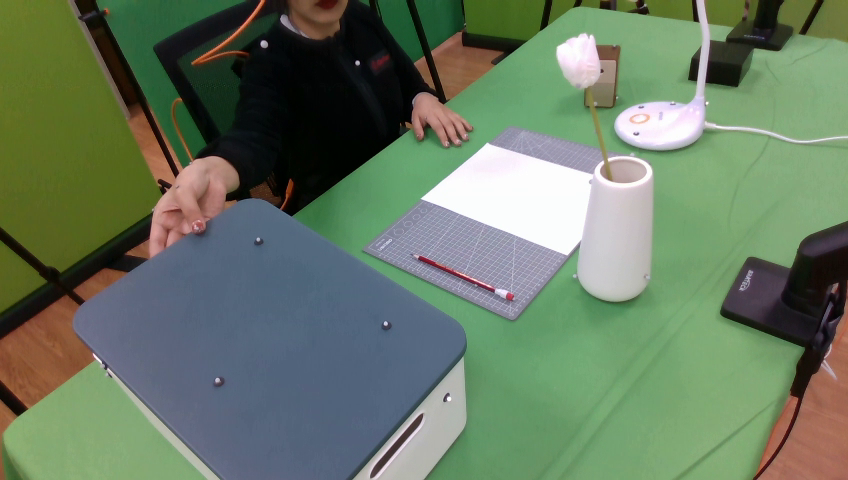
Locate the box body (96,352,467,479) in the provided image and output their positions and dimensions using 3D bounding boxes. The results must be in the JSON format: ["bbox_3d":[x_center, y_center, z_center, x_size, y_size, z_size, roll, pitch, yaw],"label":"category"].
[{"bbox_3d":[-0.155,0.169,0.707,0.361,0.161,0.255,23,49,33],"label":"box body"}]

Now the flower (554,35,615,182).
[{"bbox_3d":[0.237,-0.083,0.774,0.044,0.363,0.038,-22,26,7],"label":"flower"}]

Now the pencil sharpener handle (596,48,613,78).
[{"bbox_3d":[0.383,-0.378,1.276,0.036,0.068,0.030,2,41,22],"label":"pencil sharpener handle"}]

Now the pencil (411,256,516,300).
[{"bbox_3d":[0.054,0.054,0.918,0.192,0.012,0.012,21,48,33],"label":"pencil"}]

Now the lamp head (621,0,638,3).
[{"bbox_3d":[0.319,-0.453,0.962,0.113,0.123,0.112,20,33,-13],"label":"lamp head"}]

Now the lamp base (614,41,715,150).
[{"bbox_3d":[0.449,-0.277,1.106,0.179,0.181,0.160,1,41,9],"label":"lamp base"}]

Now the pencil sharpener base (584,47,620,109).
[{"bbox_3d":[0.367,-0.336,1.248,0.061,0.107,0.076,6,42,19],"label":"pencil sharpener base"}]

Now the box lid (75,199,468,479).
[{"bbox_3d":[-0.167,0.093,0.646,0.369,0.015,0.264,30,53,27],"label":"box lid"}]

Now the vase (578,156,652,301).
[{"bbox_3d":[0.261,-0.011,0.812,0.098,0.201,0.097,-4,40,4],"label":"vase"}]
